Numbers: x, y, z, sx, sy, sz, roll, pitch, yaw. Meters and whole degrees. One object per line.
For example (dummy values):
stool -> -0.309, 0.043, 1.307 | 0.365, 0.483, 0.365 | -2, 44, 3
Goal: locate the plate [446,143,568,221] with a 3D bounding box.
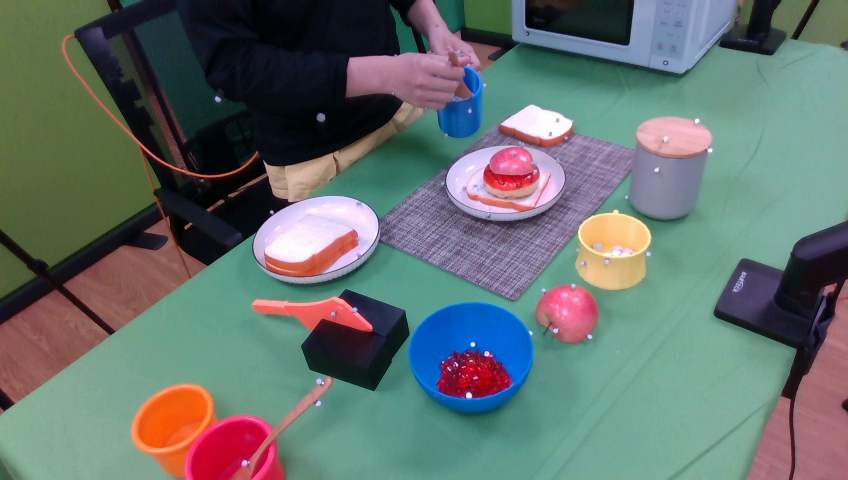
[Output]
plate -> 0.142, -0.097, 1.045 | 0.207, 0.039, 0.206 | -4, 41, 4

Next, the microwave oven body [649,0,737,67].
microwave oven body -> 0.475, -0.602, 1.411 | 0.438, 0.261, 0.327 | 23, 50, 32

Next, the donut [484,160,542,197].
donut -> 0.149, -0.110, 1.016 | 0.099, 0.048, 0.098 | -4, 40, 4

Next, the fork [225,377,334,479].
fork -> -0.163, 0.216, 0.647 | 0.207, 0.019, 0.028 | -49, 42, 16

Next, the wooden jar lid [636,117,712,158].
wooden jar lid -> 0.377, -0.151, 0.917 | 0.108, 0.021, 0.108 | -2, 41, 3

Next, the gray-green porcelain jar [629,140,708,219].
gray-green porcelain jar -> 0.383, -0.105, 0.958 | 0.106, 0.127, 0.105 | -4, 41, 4

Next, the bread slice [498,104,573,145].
bread slice -> 0.231, -0.231, 1.205 | 0.105, 0.019, 0.130 | -36, 47, -29

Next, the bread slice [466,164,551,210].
bread slice -> 0.141, -0.093, 1.042 | 0.133, 0.018, 0.107 | 9, 43, 20

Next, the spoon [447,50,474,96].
spoon -> 0.052, -0.258, 0.939 | 0.041, 0.194, 0.021 | 16, 86, 10

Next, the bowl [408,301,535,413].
bowl -> 0.060, 0.156, 0.739 | 0.151, 0.077, 0.150 | -4, 40, 4

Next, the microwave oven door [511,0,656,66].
microwave oven door -> 0.351, -0.540, 1.349 | 0.353, 0.245, 0.039 | 24, 50, 31

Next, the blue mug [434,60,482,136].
blue mug -> 0.065, -0.263, 1.086 | 0.082, 0.106, 0.116 | 7, 66, 8

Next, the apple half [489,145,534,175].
apple half -> 0.145, -0.138, 0.995 | 0.081, 0.033, 0.081 | -1, 35, 1

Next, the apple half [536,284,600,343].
apple half -> 0.196, 0.091, 0.815 | 0.075, 0.053, 0.080 | -22, 42, -20

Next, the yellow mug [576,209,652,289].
yellow mug -> 0.279, 0.004, 0.893 | 0.099, 0.064, 0.130 | 5, 42, 14

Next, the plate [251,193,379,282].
plate -> -0.174, -0.001, 0.984 | 0.209, 0.038, 0.208 | -4, 41, 4

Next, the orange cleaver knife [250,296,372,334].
orange cleaver knife -> -0.158, 0.103, 0.828 | 0.210, 0.078, 0.012 | -4, 43, 39

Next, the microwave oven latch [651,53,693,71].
microwave oven latch -> 0.532, -0.386, 1.301 | 0.078, 0.029, 0.030 | 27, 52, 34
